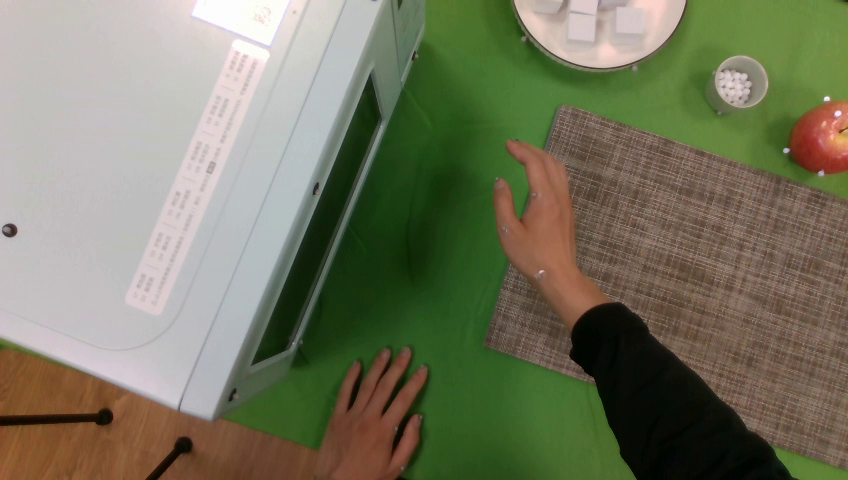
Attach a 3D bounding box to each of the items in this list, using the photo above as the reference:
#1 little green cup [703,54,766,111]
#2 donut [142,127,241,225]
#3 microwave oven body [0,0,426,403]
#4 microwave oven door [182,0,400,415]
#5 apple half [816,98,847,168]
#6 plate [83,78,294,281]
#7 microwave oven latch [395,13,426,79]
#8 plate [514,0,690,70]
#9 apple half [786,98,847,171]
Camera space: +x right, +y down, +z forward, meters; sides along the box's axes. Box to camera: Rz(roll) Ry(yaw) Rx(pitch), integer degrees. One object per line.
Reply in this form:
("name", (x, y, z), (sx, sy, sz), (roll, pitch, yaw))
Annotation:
("little green cup", (0.360, -0.181, 0.707), (0.061, 0.038, 0.061), (0, 86, 0))
("donut", (-0.235, -0.064, 0.615), (0.099, 0.048, 0.099), (0, 87, 0))
("microwave oven body", (-0.226, -0.122, 0.580), (0.326, 0.260, 0.441), (22, 87, 0))
("microwave oven door", (-0.107, -0.029, 0.572), (0.039, 0.244, 0.355), (22, 86, 1))
("apple half", (0.483, -0.122, 0.687), (0.033, 0.081, 0.081), (-8, 86, 4))
("plate", (-0.238, -0.061, 0.628), (0.209, 0.038, 0.209), (0, 88, -2))
("microwave oven latch", (-0.023, -0.225, 0.685), (0.030, 0.029, 0.079), (25, 88, 0))
("plate", (0.204, -0.298, 0.711), (0.208, 0.039, 0.207), (0, 87, -1))
("apple half", (0.444, -0.116, 0.688), (0.053, 0.074, 0.081), (-7, 90, 4))
